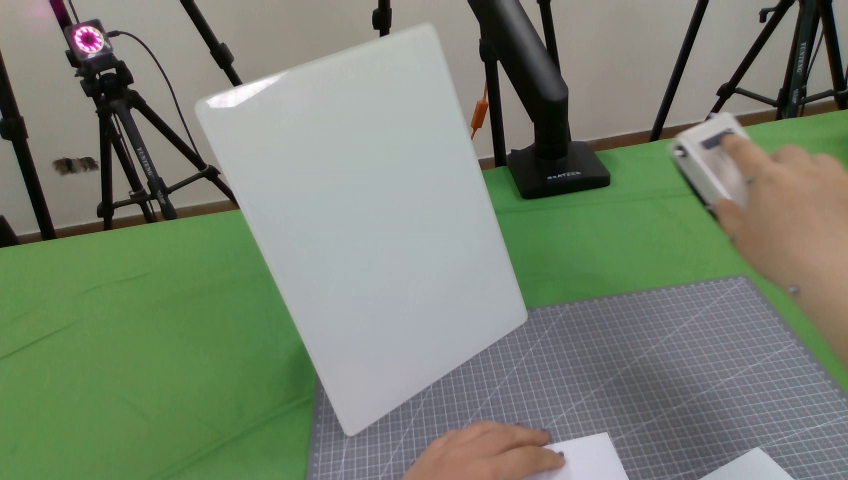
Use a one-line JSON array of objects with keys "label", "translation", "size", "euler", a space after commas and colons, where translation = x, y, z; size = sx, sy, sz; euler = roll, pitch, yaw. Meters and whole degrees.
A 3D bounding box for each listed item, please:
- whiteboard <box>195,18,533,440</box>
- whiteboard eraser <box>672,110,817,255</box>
[{"label": "whiteboard", "translation": [-0.059, -0.017, 0.579], "size": [0.217, 0.307, 0.143], "euler": [-28, 19, -23]}, {"label": "whiteboard eraser", "translation": [0.253, -0.046, 0.486], "size": [0.055, 0.042, 0.112], "euler": [-26, 73, -4]}]
